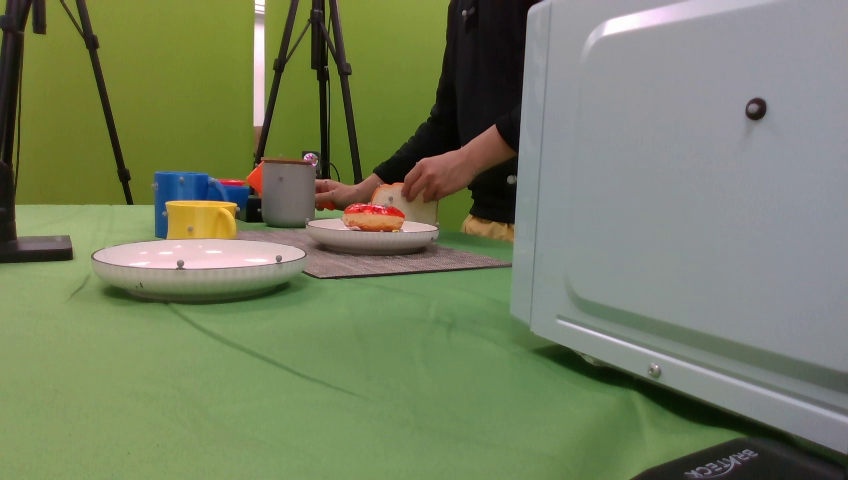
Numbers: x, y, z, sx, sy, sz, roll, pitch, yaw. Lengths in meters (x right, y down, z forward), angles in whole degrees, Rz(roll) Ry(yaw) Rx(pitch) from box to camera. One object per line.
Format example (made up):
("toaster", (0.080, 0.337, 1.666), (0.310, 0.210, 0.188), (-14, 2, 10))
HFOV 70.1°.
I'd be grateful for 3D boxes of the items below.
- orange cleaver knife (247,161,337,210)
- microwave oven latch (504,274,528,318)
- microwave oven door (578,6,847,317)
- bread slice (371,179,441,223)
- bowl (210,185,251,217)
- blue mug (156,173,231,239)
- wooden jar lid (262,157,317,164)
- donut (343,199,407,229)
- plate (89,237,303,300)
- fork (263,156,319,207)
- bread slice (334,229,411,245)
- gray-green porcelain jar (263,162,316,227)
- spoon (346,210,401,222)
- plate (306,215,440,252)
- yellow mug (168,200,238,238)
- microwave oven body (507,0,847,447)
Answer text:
("orange cleaver knife", (-0.293, -0.105, 1.355), (0.212, 0.077, 0.012), (30, -9, -33))
("microwave oven latch", (0.100, 0.041, 0.471), (0.079, 0.029, 0.030), (-1, 8, -28))
("microwave oven door", (0.294, -0.067, 0.570), (0.358, 0.243, 0.039), (-3, 9, -31))
("bread slice", (-0.034, -0.061, 1.133), (0.135, 0.107, 0.018), (-3, 13, -18))
("bowl", (-0.408, -0.064, 1.155), (0.151, 0.077, 0.151), (2, 8, 0))
("blue mug", (-0.381, -0.057, 1.004), (0.117, 0.106, 0.082), (0, 8, -12))
("wooden jar lid", (-0.269, -0.154, 1.208), (0.108, 0.020, 0.108), (3, 4, 0))
("donut", (-0.077, -0.039, 0.948), (0.099, 0.048, 0.099), (3, 4, 0))
("plate", (-0.233, 0.029, 0.637), (0.208, 0.039, 0.207), (2, 7, 0))
("fork", (-0.331, -0.144, 1.506), (0.207, 0.018, 0.028), (-42, -20, 22))
("bread slice", (-0.075, -0.006, 0.938), (0.105, 0.019, 0.131), (-1, 5, -20))
("gray-green porcelain jar", (-0.271, -0.092, 1.217), (0.106, 0.126, 0.106), (2, 7, 0))
("spoon", (-0.121, -0.060, 1.400), (0.042, 0.021, 0.192), (-28, 25, -37))
("plate", (-0.080, -0.011, 0.949), (0.209, 0.038, 0.209), (2, 8, 0))
("yellow mug", (-0.320, -0.023, 0.904), (0.130, 0.064, 0.100), (9, 10, 36))
("microwave oven body", (0.331, -0.042, 0.425), (0.444, 0.260, 0.324), (-2, 8, -31))
